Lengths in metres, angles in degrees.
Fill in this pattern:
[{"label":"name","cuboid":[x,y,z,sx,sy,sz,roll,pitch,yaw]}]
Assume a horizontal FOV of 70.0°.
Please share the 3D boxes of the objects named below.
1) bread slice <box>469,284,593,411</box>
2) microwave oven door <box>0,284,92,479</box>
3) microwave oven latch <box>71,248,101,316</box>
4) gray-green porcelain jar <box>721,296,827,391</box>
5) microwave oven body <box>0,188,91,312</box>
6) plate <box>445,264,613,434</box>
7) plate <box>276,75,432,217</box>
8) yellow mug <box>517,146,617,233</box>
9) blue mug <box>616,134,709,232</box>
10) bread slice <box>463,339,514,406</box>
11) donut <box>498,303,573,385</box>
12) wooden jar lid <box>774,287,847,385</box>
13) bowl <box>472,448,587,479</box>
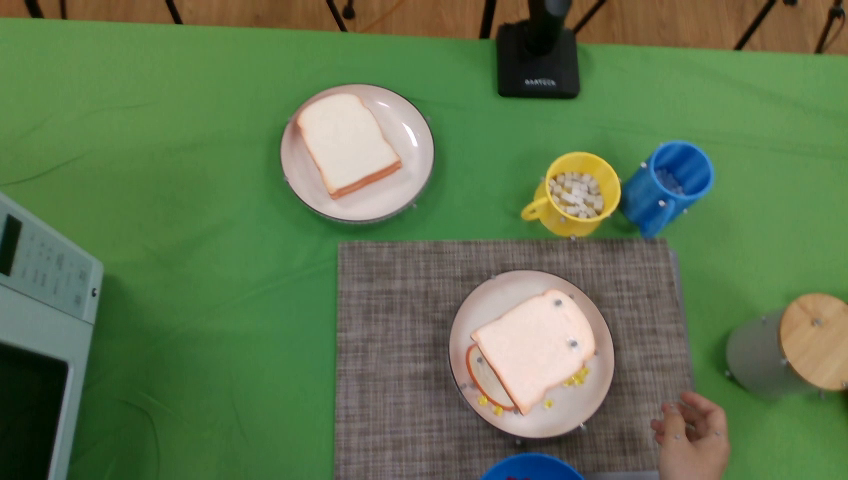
[{"label":"bread slice","cuboid":[0.128,0.113,0.698,0.134,0.018,0.106,-34,84,-21]},{"label":"microwave oven door","cuboid":[-0.407,0.226,0.560,0.039,0.245,0.353,1,72,-3]},{"label":"microwave oven latch","cuboid":[-0.409,0.049,0.723,0.030,0.029,0.078,4,72,-3]},{"label":"gray-green porcelain jar","cuboid":[0.436,0.128,0.736,0.106,0.127,0.105,1,72,-4]},{"label":"microwave oven body","cuboid":[-0.552,0.182,0.568,0.326,0.261,0.439,2,73,-4]},{"label":"plate","cuboid":[0.128,0.133,0.753,0.209,0.038,0.208,1,72,-4]},{"label":"plate","cuboid":[-0.094,-0.125,0.824,0.208,0.039,0.206,1,72,-4]},{"label":"yellow mug","cuboid":[0.185,-0.062,0.810,0.131,0.064,0.099,-20,74,-9]},{"label":"blue mug","cuboid":[0.308,-0.065,0.800,0.082,0.106,0.116,20,72,3]},{"label":"bread slice","cuboid":[0.118,0.141,0.752,0.131,0.019,0.104,-32,77,-15]},{"label":"donut","cuboid":[0.135,0.125,0.727,0.099,0.048,0.098,8,69,-20]},{"label":"wooden jar lid","cuboid":[0.439,0.107,0.676,0.108,0.021,0.108,2,75,-6]},{"label":"bowl","cuboid":[0.112,0.310,0.678,0.151,0.077,0.150,1,72,-4]}]
